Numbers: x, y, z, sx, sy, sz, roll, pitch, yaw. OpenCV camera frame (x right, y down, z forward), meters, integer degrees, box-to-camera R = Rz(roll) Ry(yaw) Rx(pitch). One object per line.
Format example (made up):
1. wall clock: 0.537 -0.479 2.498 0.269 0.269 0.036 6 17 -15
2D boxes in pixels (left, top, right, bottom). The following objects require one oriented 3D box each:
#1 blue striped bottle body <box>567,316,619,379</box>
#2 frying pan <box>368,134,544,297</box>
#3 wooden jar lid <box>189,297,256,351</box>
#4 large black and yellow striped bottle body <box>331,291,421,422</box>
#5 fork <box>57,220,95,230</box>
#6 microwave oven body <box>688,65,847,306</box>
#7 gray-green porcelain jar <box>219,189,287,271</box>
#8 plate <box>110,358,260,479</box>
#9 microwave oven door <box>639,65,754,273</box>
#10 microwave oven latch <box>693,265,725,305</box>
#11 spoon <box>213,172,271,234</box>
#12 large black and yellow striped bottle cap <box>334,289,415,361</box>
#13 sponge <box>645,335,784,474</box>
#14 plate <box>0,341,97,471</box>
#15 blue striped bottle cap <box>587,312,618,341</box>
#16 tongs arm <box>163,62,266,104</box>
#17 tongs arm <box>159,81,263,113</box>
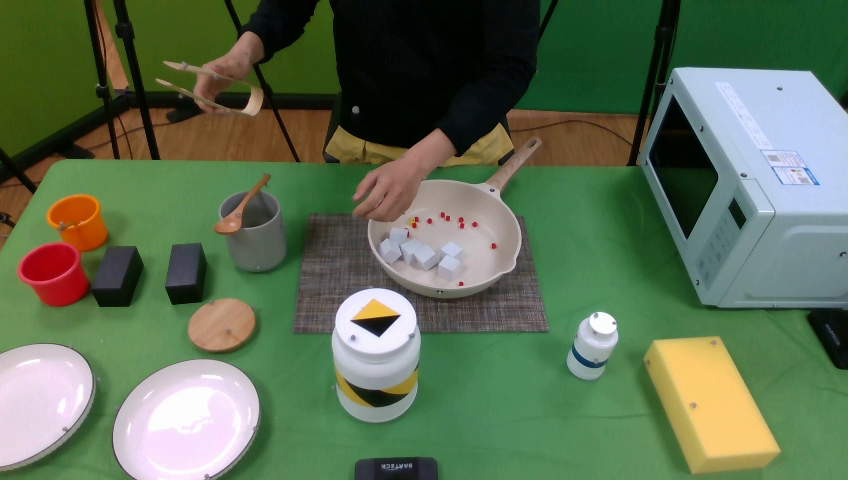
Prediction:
1. blue striped bottle body: 0.276 0.168 0.984 0.063 0.121 0.062 2 46 -2
2. frying pan: 0.104 -0.069 1.205 0.305 0.103 0.487 32 61 23
3. wooden jar lid: -0.342 0.145 1.033 0.108 0.021 0.107 2 45 -2
4. large black and yellow striped bottle body: -0.071 0.175 0.911 0.131 0.185 0.130 2 47 -2
5. fork: -0.624 -0.027 1.086 0.028 0.207 0.018 -2 91 -17
6. microwave oven body: 0.669 -0.111 1.176 0.326 0.261 0.439 0 46 -3
7. gray-green porcelain jar: -0.309 -0.014 1.114 0.106 0.127 0.105 2 46 -2
8. plate: -0.349 0.273 0.899 0.208 0.039 0.206 2 46 -2
9. microwave oven door: 0.522 -0.147 1.193 0.039 0.245 0.353 1 47 -3
10. microwave oven latch: 0.523 0.081 1.116 0.030 0.029 0.078 2 46 -1
11. spoon: -0.312 -0.069 1.069 0.041 0.022 0.193 9 43 11
12. large black and yellow striped bottle cap: -0.069 0.117 0.850 0.115 0.019 0.114 2 45 -2
13. sponge: 0.449 0.253 0.956 0.118 0.061 0.205 -4 46 -7
14. plate: -0.599 0.247 0.904 0.209 0.038 0.208 2 47 -2
15. blue striped bottle cap: 0.279 0.134 0.947 0.044 0.021 0.044 2 44 -2
16. tongs arm: -0.344 -0.263 1.036 0.026 0.051 0.384 19 13 0
17. tongs arm: -0.351 -0.244 1.038 0.028 0.028 0.387 16 8 1
